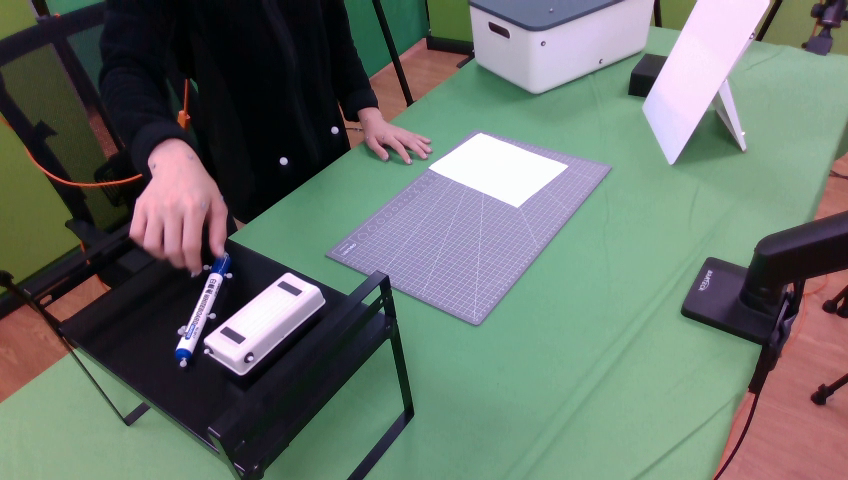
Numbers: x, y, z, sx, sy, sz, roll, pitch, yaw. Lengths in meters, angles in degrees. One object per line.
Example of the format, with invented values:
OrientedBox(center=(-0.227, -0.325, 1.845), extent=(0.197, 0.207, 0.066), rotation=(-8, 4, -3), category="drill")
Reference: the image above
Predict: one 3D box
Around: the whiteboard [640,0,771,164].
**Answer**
OrientedBox(center=(0.543, -0.299, 1.076), extent=(0.144, 0.305, 0.216), rotation=(12, 40, -7), category="whiteboard")

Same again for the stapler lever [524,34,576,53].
OrientedBox(center=(0.297, -0.463, 1.424), extent=(0.117, 0.040, 0.027), rotation=(5, 22, 17), category="stapler lever")

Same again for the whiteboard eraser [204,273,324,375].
OrientedBox(center=(-0.157, 0.084, 0.605), extent=(0.055, 0.042, 0.113), rotation=(24, 49, 30), category="whiteboard eraser")

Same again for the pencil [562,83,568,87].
OrientedBox(center=(0.248, -0.393, 1.398), extent=(0.193, 0.012, 0.012), rotation=(31, 52, 24), category="pencil")

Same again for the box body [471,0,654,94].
OrientedBox(center=(0.319, -0.498, 1.405), extent=(0.365, 0.161, 0.252), rotation=(-26, 43, -21), category="box body")

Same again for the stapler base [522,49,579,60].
OrientedBox(center=(0.300, -0.441, 1.433), extent=(0.130, 0.024, 0.041), rotation=(3, 21, 18), category="stapler base")

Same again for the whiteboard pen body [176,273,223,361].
OrientedBox(center=(-0.237, 0.072, 0.652), extent=(0.017, 0.017, 0.140), rotation=(-3, 40, 5), category="whiteboard pen body")

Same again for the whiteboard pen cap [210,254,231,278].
OrientedBox(center=(-0.234, 0.032, 0.695), extent=(0.018, 0.018, 0.033), rotation=(-3, 40, 4), category="whiteboard pen cap")

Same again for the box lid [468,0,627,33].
OrientedBox(center=(0.312, -0.554, 1.358), extent=(0.373, 0.015, 0.261), rotation=(-26, 44, -20), category="box lid")
